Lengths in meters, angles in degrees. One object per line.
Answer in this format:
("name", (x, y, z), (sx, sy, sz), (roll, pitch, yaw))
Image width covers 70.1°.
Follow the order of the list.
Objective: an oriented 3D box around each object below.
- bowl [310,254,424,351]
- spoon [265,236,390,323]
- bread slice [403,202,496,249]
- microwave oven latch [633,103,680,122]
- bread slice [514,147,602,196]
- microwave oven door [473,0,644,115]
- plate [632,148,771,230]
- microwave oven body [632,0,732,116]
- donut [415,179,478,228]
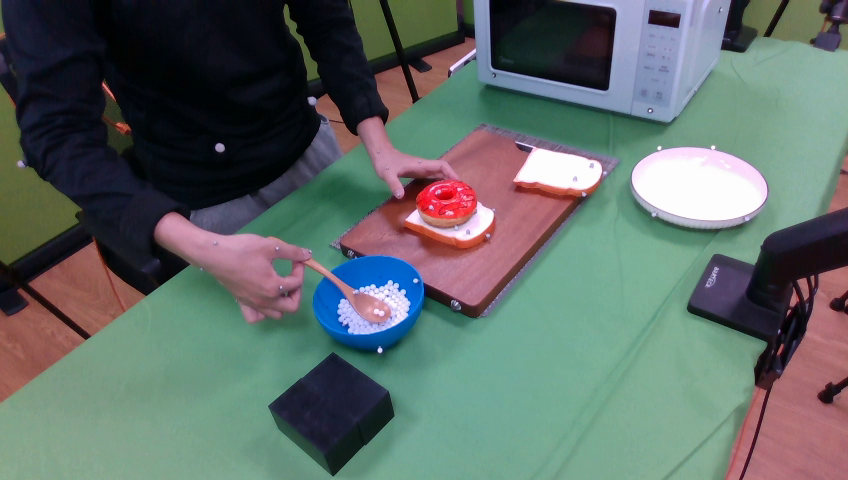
("bowl", (-0.071, 0.098, 0.821), (0.151, 0.077, 0.150), (-4, 40, 4))
("spoon", (-0.128, 0.050, 0.804), (0.194, 0.021, 0.041), (38, 43, -7))
("bread slice", (0.048, -0.034, 0.961), (0.130, 0.019, 0.105), (22, 49, 32))
("microwave oven latch", (0.444, -0.249, 1.157), (0.078, 0.029, 0.030), (21, 49, 30))
("bread slice", (0.233, -0.115, 1.027), (0.133, 0.018, 0.107), (13, 45, 20))
("microwave oven door", (0.257, -0.396, 1.198), (0.353, 0.245, 0.039), (21, 48, 29))
("plate", (0.447, -0.081, 0.988), (0.207, 0.039, 0.206), (-4, 40, 4))
("microwave oven body", (0.377, -0.462, 1.267), (0.438, 0.261, 0.327), (21, 48, 30))
("donut", (0.036, -0.058, 0.944), (0.099, 0.048, 0.098), (-5, 40, 5))
